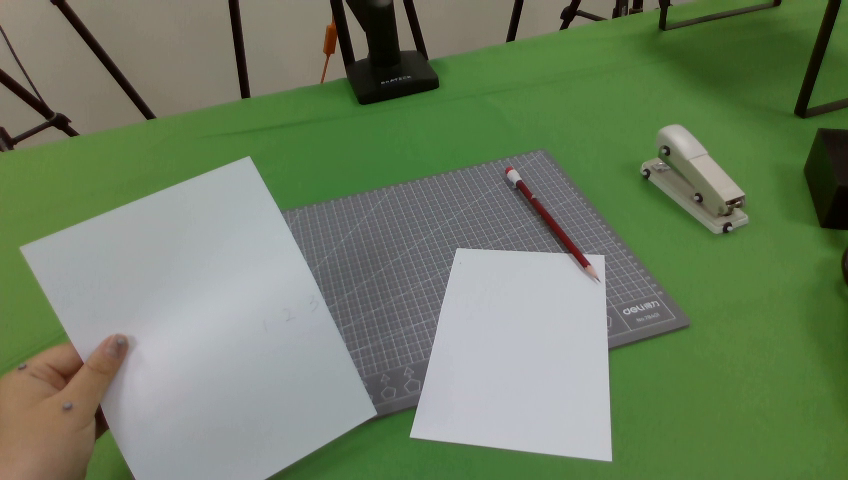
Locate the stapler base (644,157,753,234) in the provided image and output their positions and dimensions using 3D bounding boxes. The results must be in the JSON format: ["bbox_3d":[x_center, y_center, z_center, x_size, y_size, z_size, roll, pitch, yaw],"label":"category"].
[{"bbox_3d":[0.279,-0.056,0.623,0.041,0.025,0.129,-19,43,-10],"label":"stapler base"}]

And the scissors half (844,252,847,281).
[{"bbox_3d":[0.395,-0.023,0.523,0.040,0.013,0.174,14,68,27],"label":"scissors half"}]

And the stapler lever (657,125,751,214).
[{"bbox_3d":[0.277,-0.074,0.605,0.027,0.040,0.116,-20,44,-10],"label":"stapler lever"}]

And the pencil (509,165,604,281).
[{"bbox_3d":[0.130,-0.022,0.612,0.012,0.012,0.191,-17,43,-11],"label":"pencil"}]
